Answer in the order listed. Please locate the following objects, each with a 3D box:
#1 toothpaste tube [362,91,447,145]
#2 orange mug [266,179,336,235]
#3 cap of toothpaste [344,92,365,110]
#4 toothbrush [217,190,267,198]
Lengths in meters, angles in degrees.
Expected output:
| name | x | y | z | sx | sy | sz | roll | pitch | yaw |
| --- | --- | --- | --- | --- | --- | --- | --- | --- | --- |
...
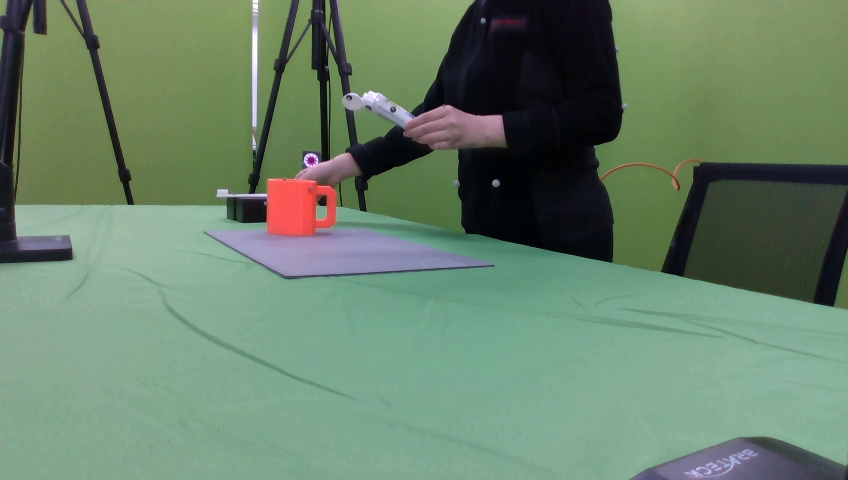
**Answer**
| name | x | y | z | sx | sy | sz | roll | pitch | yaw |
| --- | --- | --- | --- | --- | --- | --- | --- | --- | --- |
| toothpaste tube | -0.033 | -0.208 | 1.041 | 0.165 | 0.034 | 0.055 | 28 | 25 | -5 |
| orange mug | -0.222 | -0.062 | 1.094 | 0.127 | 0.101 | 0.083 | -5 | 10 | -22 |
| cap of toothpaste | -0.117 | -0.236 | 1.020 | 0.037 | 0.011 | 0.037 | 0 | -37 | 0 |
| toothbrush | -0.344 | -0.096 | 1.282 | 0.183 | 0.016 | 0.014 | -1 | 4 | -27 |
